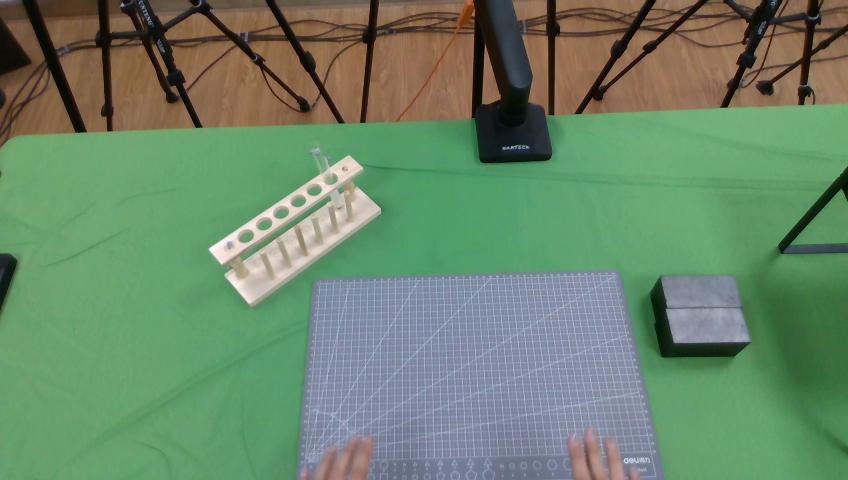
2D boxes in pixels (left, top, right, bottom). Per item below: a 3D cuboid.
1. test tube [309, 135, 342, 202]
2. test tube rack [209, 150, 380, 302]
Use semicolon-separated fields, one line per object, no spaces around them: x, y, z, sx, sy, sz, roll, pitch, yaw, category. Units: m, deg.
-0.140;-0.099;0.871;0.017;0.151;0.017;-2;61;4;test tube
-0.180;-0.023;0.883;0.242;0.086;0.066;-38;65;-20;test tube rack
